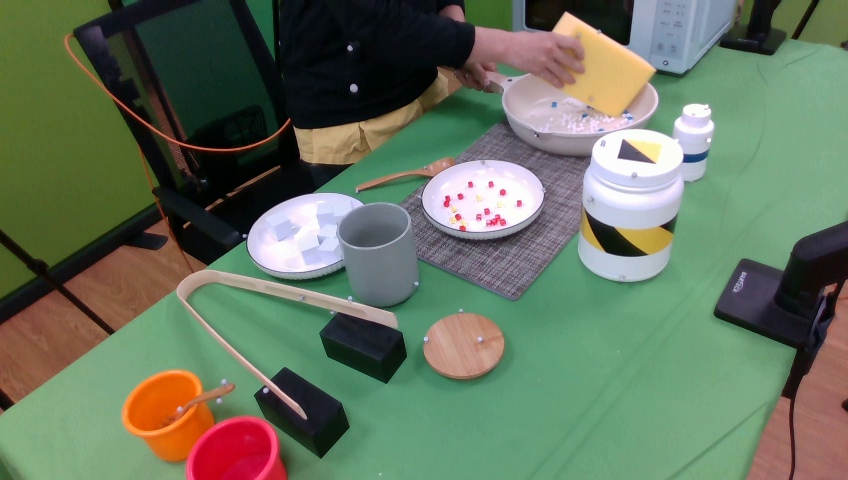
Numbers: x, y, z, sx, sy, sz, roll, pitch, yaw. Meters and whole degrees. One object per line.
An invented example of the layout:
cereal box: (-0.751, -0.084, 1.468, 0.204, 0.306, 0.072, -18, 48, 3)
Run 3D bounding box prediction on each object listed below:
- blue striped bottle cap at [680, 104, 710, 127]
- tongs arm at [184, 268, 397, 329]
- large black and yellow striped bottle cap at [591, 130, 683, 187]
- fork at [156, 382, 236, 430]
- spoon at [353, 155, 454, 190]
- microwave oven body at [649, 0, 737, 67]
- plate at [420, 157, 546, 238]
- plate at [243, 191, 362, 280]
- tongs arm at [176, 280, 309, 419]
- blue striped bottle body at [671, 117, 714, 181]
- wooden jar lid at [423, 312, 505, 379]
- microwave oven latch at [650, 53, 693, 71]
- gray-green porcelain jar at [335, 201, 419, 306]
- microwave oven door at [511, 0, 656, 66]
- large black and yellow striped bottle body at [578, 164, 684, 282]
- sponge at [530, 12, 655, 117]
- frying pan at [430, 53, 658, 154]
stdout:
blue striped bottle cap: (0.443, -0.205, 0.989, 0.044, 0.021, 0.044, -1, 41, 2)
tongs arm: (-0.202, 0.084, 0.848, 0.382, 0.027, 0.051, 11, 45, 35)
large black and yellow striped bottle cap: (0.282, -0.111, 0.803, 0.115, 0.019, 0.114, -3, 41, 3)
fork: (-0.262, 0.189, 0.690, 0.018, 0.206, 0.028, 49, 43, -7)
spoon: (-0.038, -0.123, 1.116, 0.194, 0.022, 0.041, -12, 58, -4)
microwave oven body: (0.475, -0.602, 1.411, 0.438, 0.261, 0.327, 23, 50, 32)
plate: (0.099, -0.067, 1.017, 0.209, 0.038, 0.208, -4, 40, 4)
plate: (-0.188, -0.005, 0.992, 0.207, 0.039, 0.206, -4, 40, 3)
tongs arm: (-0.254, 0.133, 0.801, 0.028, 0.028, 0.384, -41, 41, -23)
blue striped bottle body: (0.449, -0.165, 1.022, 0.063, 0.121, 0.063, -5, 41, 4)
wooden jar lid: (0.053, 0.142, 0.800, 0.108, 0.021, 0.108, -5, 39, 4)
microwave oven latch: (0.531, -0.386, 1.301, 0.078, 0.029, 0.030, 26, 51, 33)
gray-green porcelain jar: (-0.064, 0.024, 0.872, 0.106, 0.127, 0.105, -4, 41, 4)
microwave oven door: (0.351, -0.540, 1.349, 0.353, 0.245, 0.039, 24, 50, 31)
large black and yellow striped bottle body: (0.292, -0.046, 0.859, 0.131, 0.185, 0.130, -4, 41, 4)
sponge: (0.324, -0.331, 1.164, 0.208, 0.118, 0.060, 19, 31, -27)
frying pan: (0.216, -0.301, 1.223, 0.484, 0.103, 0.308, 29, 49, 24)
